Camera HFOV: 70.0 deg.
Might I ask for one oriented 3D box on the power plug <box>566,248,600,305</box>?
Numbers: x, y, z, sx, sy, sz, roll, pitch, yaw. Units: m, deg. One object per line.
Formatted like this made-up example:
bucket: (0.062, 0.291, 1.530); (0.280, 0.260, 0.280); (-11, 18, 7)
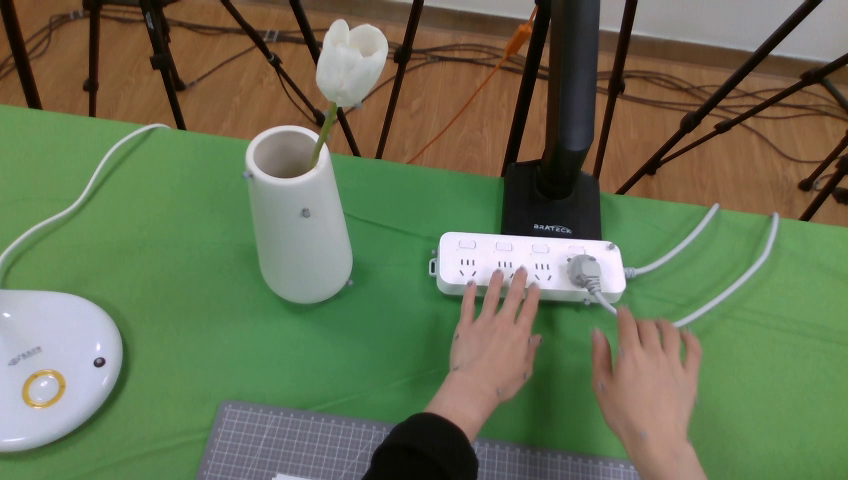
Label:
power plug: (0.169, 0.041, 0.652); (0.035, 0.053, 0.072); (13, 62, 4)

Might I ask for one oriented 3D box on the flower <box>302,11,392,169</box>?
flower: (-0.102, -0.060, 0.524); (0.044, 0.362, 0.038); (-29, 80, -31)

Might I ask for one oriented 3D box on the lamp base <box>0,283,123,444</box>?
lamp base: (-0.381, 0.066, 0.525); (0.178, 0.182, 0.160); (36, 61, 22)

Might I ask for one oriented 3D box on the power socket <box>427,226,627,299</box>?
power socket: (0.118, 0.025, 0.685); (0.227, 0.033, 0.071); (4, 57, -3)

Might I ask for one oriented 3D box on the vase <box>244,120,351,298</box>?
vase: (-0.125, -0.024, 0.597); (0.098, 0.201, 0.097); (2, 56, -2)
